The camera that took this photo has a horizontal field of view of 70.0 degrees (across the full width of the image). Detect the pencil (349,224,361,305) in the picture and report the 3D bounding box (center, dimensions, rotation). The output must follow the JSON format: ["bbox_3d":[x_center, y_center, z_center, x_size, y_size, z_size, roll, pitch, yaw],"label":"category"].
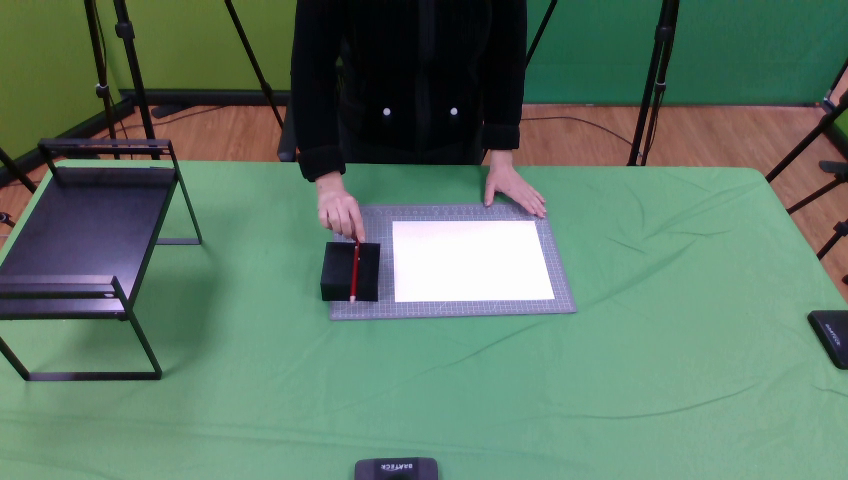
[{"bbox_3d":[-0.124,0.040,1.085,0.012,0.012,0.193,2,45,-3],"label":"pencil"}]
